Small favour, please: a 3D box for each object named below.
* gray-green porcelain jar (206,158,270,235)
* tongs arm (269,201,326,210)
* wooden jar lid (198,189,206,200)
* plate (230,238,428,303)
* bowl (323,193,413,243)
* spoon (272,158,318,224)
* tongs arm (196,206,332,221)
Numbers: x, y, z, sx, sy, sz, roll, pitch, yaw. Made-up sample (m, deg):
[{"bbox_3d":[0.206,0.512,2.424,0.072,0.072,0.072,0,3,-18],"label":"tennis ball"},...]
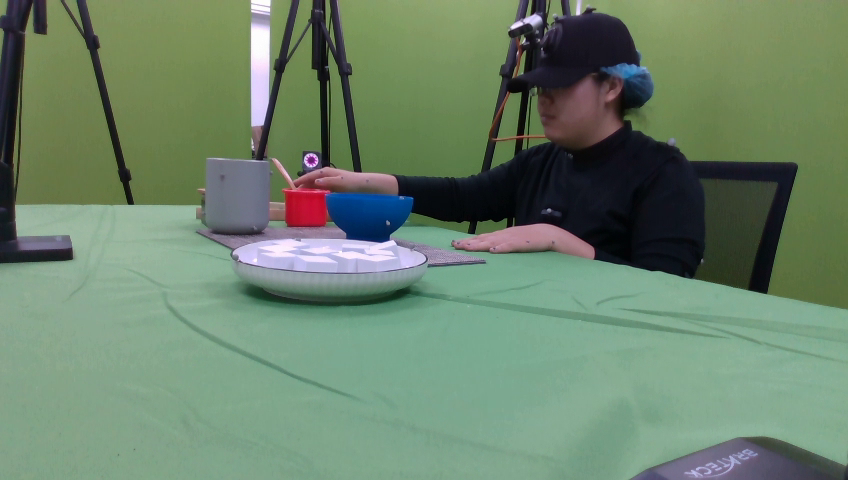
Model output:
[{"bbox_3d":[-0.322,-0.076,1.048,0.106,0.126,0.106,3,7,0],"label":"gray-green porcelain jar"},{"bbox_3d":[-0.308,-0.073,1.410,0.386,0.026,0.050,3,8,-6],"label":"tongs arm"},{"bbox_3d":[-0.382,-0.088,1.175,0.108,0.020,0.108,3,8,0],"label":"wooden jar lid"},{"bbox_3d":[-0.099,0.032,0.651,0.209,0.038,0.209,3,8,0],"label":"plate"},{"bbox_3d":[-0.093,-0.037,1.015,0.151,0.077,0.151,2,7,0],"label":"bowl"},{"bbox_3d":[-0.268,-0.103,1.236,0.042,0.193,0.021,-9,-32,-40],"label":"spoon"},{"bbox_3d":[-0.294,-0.058,1.330,0.389,0.028,0.028,0,5,-20],"label":"tongs arm"}]
